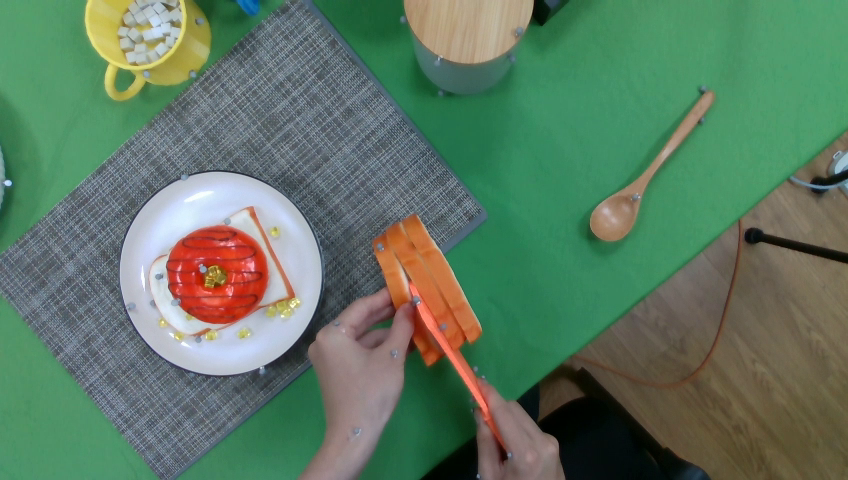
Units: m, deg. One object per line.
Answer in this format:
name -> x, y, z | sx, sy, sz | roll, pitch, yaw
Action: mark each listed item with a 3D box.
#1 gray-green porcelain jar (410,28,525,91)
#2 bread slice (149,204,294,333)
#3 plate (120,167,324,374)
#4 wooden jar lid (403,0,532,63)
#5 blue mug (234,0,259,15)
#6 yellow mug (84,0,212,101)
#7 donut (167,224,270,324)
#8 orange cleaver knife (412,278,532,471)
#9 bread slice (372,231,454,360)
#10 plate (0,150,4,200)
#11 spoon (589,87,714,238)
gray-green porcelain jar -> 0.040, -0.202, 0.572 | 0.106, 0.126, 0.106 | 0, 91, 1
bread slice -> -0.215, 0.038, 0.629 | 0.131, 0.019, 0.105 | -28, 90, -2
plate -> -0.203, 0.031, 0.625 | 0.209, 0.038, 0.209 | 0, 92, 2
wooden jar lid -> 0.037, -0.202, 0.510 | 0.108, 0.020, 0.108 | 0, 92, -2
blue mug -> -0.190, -0.277, 0.586 | 0.082, 0.106, 0.116 | -20, 91, 2
yellow mug -> -0.282, -0.199, 0.610 | 0.100, 0.064, 0.131 | 28, 93, 1
donut -> -0.201, 0.033, 0.597 | 0.099, 0.048, 0.099 | 0, 92, -2
orange cleaver knife -> 0.043, 0.126, 0.567 | 0.012, 0.076, 0.212 | -31, 108, 3
bread slice -> -0.009, 0.051, 0.594 | 0.018, 0.107, 0.134 | -31, 84, 0
plate -> -0.538, -0.071, 0.634 | 0.207, 0.039, 0.207 | 0, 92, 1
spoon -> 0.238, -0.081, 0.622 | 0.041, 0.022, 0.194 | 39, 92, 18
